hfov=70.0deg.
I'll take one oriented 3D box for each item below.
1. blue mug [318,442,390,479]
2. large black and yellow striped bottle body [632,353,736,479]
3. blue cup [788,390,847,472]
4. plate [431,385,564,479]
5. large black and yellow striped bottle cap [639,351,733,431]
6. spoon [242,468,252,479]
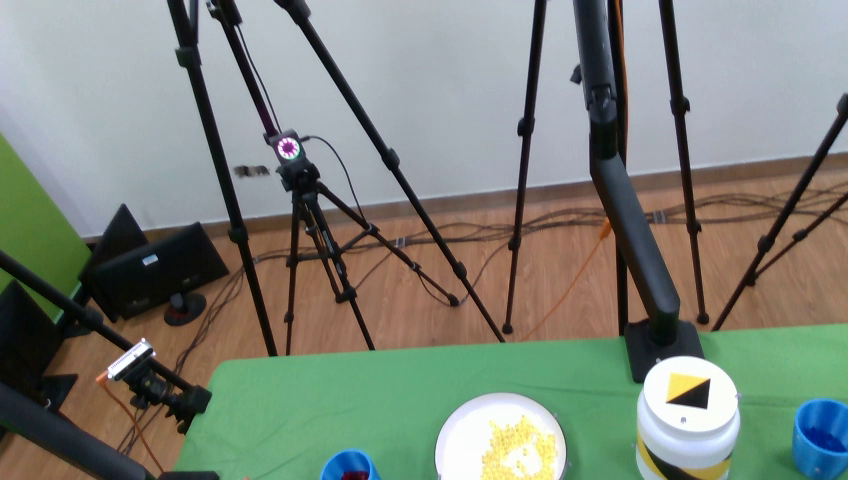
[{"bbox_3d":[-0.092,0.373,0.924,0.116,0.107,0.082,3,45,20],"label":"blue mug"},{"bbox_3d":[0.363,0.257,0.855,0.130,0.186,0.129,-9,42,8],"label":"large black and yellow striped bottle body"},{"bbox_3d":[0.550,0.273,0.842,0.092,0.101,0.091,-10,42,9],"label":"blue cup"},{"bbox_3d":[0.116,0.329,0.962,0.209,0.038,0.207,-8,42,8],"label":"plate"},{"bbox_3d":[0.344,0.196,0.798,0.115,0.019,0.114,-9,40,8],"label":"large black and yellow striped bottle cap"},{"bbox_3d":[-0.238,0.429,0.877,0.041,0.021,0.193,-14,86,-1],"label":"spoon"}]
